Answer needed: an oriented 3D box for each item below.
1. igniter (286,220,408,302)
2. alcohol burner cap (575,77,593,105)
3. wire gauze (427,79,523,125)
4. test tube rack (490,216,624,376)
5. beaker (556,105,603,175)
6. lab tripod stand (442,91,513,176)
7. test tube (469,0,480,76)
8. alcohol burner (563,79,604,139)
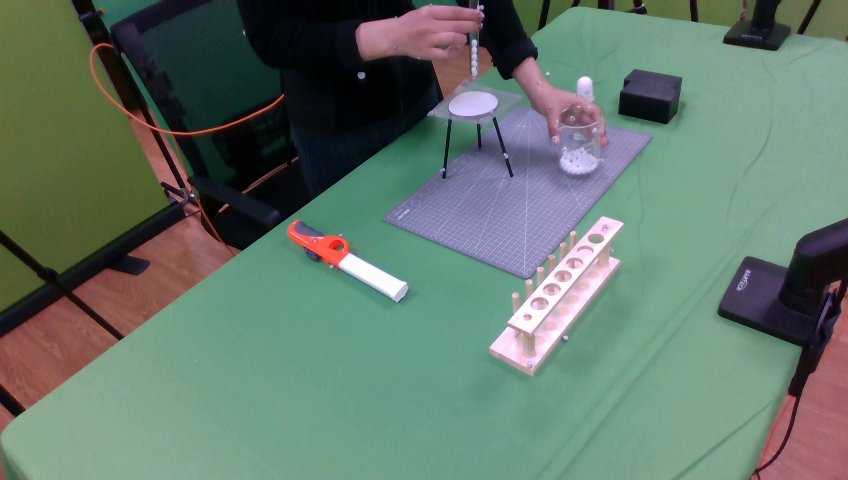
[{"bbox_3d":[-0.133,0.028,0.968,0.274,0.025,0.057,26,61,35],"label":"igniter"},{"bbox_3d":[0.297,-0.279,1.123,0.034,0.048,0.033,-8,42,8],"label":"alcohol burner cap"},{"bbox_3d":[0.088,-0.239,1.050,0.120,0.011,0.125,22,50,30],"label":"wire gauze"},{"bbox_3d":[0.184,0.064,0.822,0.066,0.085,0.243,24,50,33],"label":"test tube rack"},{"bbox_3d":[0.266,-0.169,1.040,0.084,0.101,0.073,-24,40,-14],"label":"beaker"},{"bbox_3d":[0.096,-0.190,1.095,0.148,0.132,0.147,-4,40,4],"label":"lab tripod stand"},{"bbox_3d":[0.078,-0.326,0.945,0.017,0.151,0.017,-2,45,3],"label":"test tube"},{"bbox_3d":[0.303,-0.253,1.147,0.078,0.119,0.077,-4,41,4],"label":"alcohol burner"}]
